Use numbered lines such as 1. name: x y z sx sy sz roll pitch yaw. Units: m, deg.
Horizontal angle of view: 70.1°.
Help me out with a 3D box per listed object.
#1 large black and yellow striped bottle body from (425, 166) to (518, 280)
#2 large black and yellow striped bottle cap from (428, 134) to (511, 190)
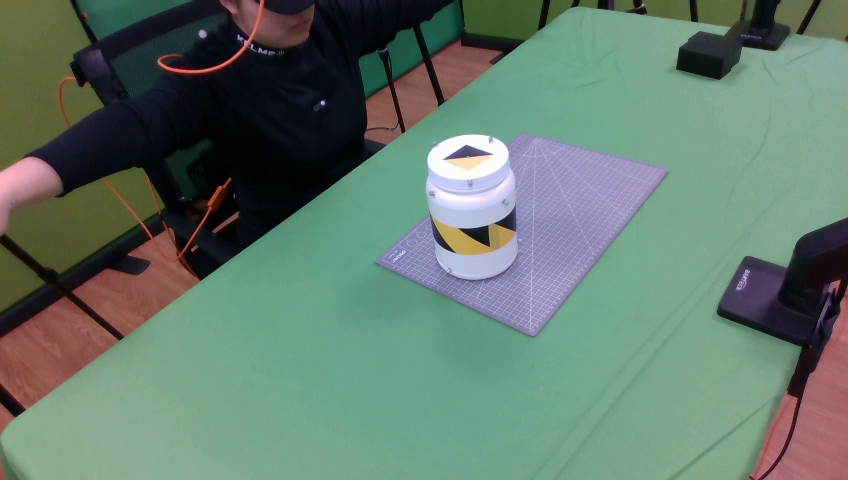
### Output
1. large black and yellow striped bottle body: 0.072 -0.047 0.894 0.131 0.185 0.130 -5 40 5
2. large black and yellow striped bottle cap: 0.062 -0.111 0.840 0.115 0.019 0.114 -5 41 5
